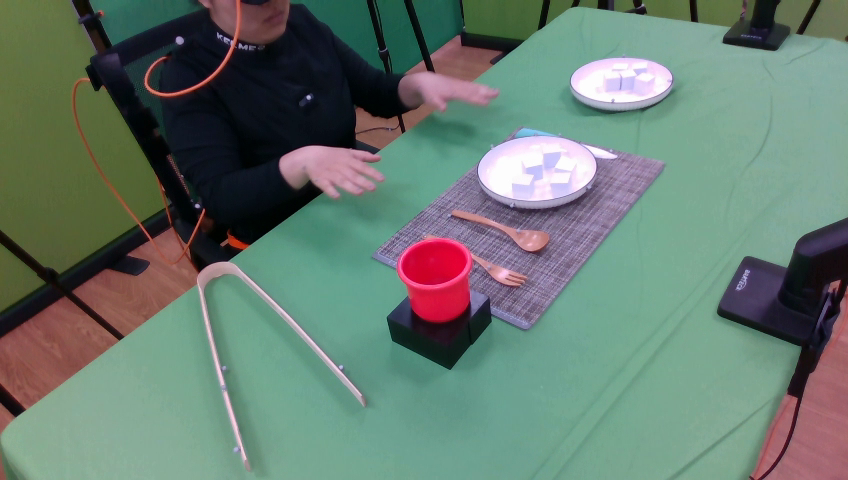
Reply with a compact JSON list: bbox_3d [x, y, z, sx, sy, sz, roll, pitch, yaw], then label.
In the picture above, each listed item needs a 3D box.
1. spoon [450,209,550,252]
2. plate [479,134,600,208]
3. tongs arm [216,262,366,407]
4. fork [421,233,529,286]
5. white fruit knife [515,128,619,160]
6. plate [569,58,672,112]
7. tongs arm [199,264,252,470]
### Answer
[{"bbox_3d":[0.119,-0.022,0.979,0.192,0.022,0.041,24,68,33],"label":"spoon"},{"bbox_3d":[0.202,-0.117,1.065,0.207,0.039,0.206,-5,40,5],"label":"plate"},{"bbox_3d":[-0.201,0.122,0.871,0.028,0.028,0.384,-36,46,-24],"label":"tongs arm"},{"bbox_3d":[0.072,0.027,0.933,0.205,0.019,0.028,27,58,33],"label":"fork"},{"bbox_3d":[0.269,-0.182,1.148,0.206,0.016,0.027,21,77,29],"label":"white fruit knife"},{"bbox_3d":[0.411,-0.323,1.274,0.209,0.038,0.208,-5,41,5],"label":"plate"},{"bbox_3d":[-0.270,0.154,0.840,0.051,0.026,0.381,-23,41,-17],"label":"tongs arm"}]
